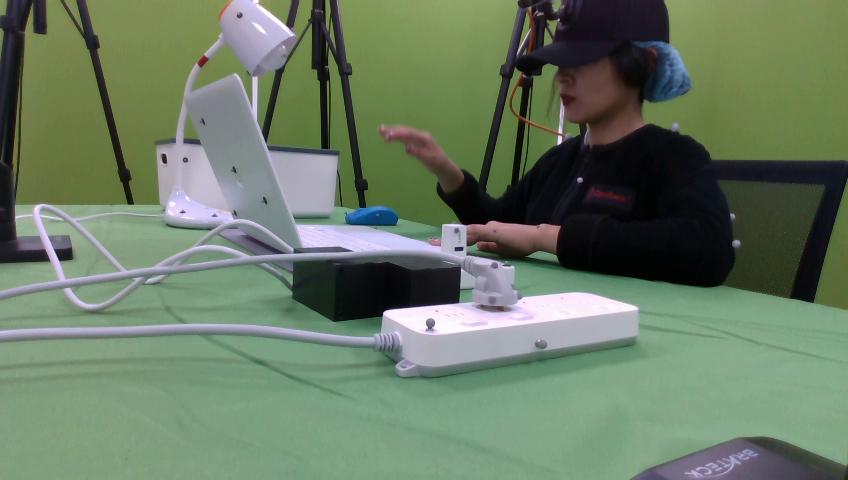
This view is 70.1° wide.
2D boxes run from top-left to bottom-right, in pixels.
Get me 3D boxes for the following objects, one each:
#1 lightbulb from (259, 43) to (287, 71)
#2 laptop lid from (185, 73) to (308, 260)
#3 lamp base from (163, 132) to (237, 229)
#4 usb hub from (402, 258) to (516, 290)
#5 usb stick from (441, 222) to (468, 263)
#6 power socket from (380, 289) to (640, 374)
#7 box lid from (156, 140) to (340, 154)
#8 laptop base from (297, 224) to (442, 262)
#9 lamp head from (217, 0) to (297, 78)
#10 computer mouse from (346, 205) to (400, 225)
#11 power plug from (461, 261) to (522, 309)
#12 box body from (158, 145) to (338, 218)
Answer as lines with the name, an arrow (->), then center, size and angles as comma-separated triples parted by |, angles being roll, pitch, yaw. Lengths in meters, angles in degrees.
lightbulb -> -0.295, -0.357, 1.103 | 0.059, 0.107, 0.059 | -37, 0, 1
laptop lid -> -0.262, -0.101, 0.850 | 0.013, 0.242, 0.355 | -26, 21, -25
lamp base -> -0.419, -0.116, 1.156 | 0.179, 0.180, 0.160 | 0, 7, 0
usb hub -> 0.041, 0.038, 0.690 | 0.126, 0.025, 0.049 | -2, 9, -30
usb stick -> 0.034, 0.009, 0.685 | 0.021, 0.059, 0.027 | -2, 10, -30
power socket -> 0.072, 0.064, 0.461 | 0.228, 0.032, 0.072 | -3, 7, -30
box lid -> -0.409, -0.212, 1.404 | 0.373, 0.015, 0.262 | -2, 8, -32
laptop base -> -0.127, 0.003, 0.945 | 0.237, 0.023, 0.352 | 2, 6, -31
lamp head -> -0.315, -0.372, 1.102 | 0.123, 0.112, 0.112 | 41, 2, -9
computer mouse -> -0.114, -0.055, 1.336 | 0.117, 0.041, 0.062 | -5, 11, -19
power plug -> 0.043, 0.043, 0.444 | 0.035, 0.052, 0.073 | -5, 8, 44
box body -> -0.410, -0.139, 1.414 | 0.366, 0.160, 0.253 | -3, 8, -33
